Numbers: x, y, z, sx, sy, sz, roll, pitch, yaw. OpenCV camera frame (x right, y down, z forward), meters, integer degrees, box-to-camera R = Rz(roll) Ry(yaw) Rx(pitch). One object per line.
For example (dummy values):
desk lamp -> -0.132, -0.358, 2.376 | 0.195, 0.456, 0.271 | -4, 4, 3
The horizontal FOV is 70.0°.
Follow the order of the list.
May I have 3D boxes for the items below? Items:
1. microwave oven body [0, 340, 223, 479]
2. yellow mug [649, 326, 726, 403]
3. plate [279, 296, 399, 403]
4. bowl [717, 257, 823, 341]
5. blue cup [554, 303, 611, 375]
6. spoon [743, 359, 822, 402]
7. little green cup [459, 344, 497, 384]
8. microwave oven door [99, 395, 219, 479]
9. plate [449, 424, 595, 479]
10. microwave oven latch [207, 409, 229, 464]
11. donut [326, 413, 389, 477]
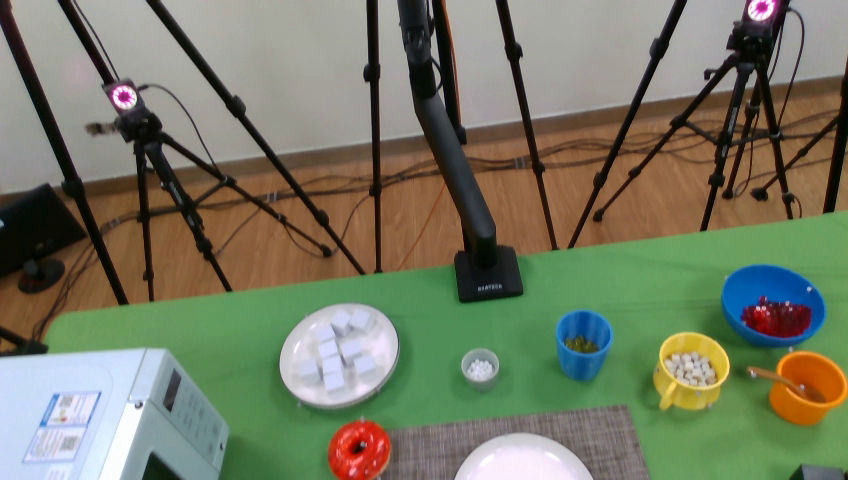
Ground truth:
microwave oven body -> -0.487, 0.385, 0.768 | 0.326, 0.263, 0.437 | -4, 48, 5
yellow mug -> 0.394, 0.200, 0.928 | 0.130, 0.064, 0.099 | -40, 54, -23
plate -> -0.143, 0.190, 1.045 | 0.207, 0.039, 0.205 | -5, 48, 5
bowl -> 0.547, 0.109, 0.978 | 0.151, 0.077, 0.150 | -5, 48, 6
blue cup -> 0.247, 0.164, 0.962 | 0.092, 0.101, 0.091 | -4, 49, 5
spoon -> 0.509, 0.195, 0.859 | 0.021, 0.195, 0.041 | -43, 37, 32
little green cup -> 0.090, 0.205, 0.993 | 0.061, 0.039, 0.061 | -5, 47, 6
microwave oven door -> -0.343, 0.400, 0.724 | 0.039, 0.246, 0.352 | -5, 48, 5
plate -> 0.136, 0.361, 0.839 | 0.209, 0.038, 0.207 | -5, 48, 6
microwave oven latch -> -0.328, 0.306, 0.945 | 0.030, 0.030, 0.078 | -3, 49, 6
donut -> -0.101, 0.310, 0.920 | 0.099, 0.049, 0.098 | -6, 49, 7
